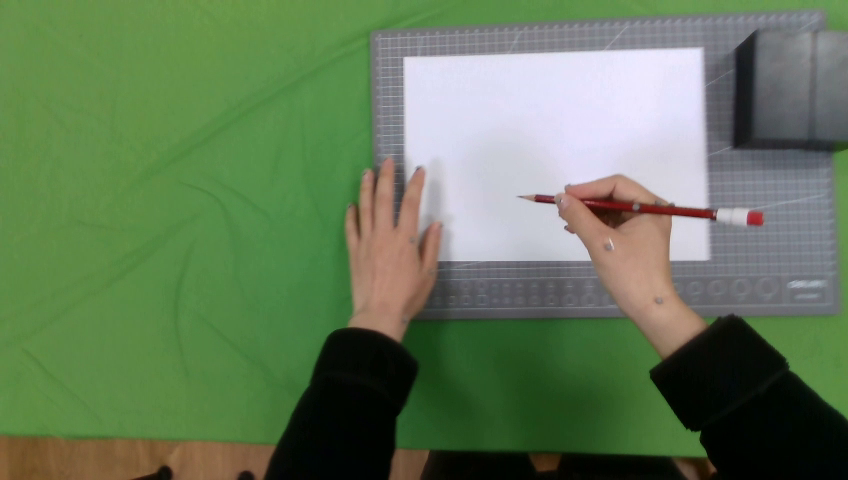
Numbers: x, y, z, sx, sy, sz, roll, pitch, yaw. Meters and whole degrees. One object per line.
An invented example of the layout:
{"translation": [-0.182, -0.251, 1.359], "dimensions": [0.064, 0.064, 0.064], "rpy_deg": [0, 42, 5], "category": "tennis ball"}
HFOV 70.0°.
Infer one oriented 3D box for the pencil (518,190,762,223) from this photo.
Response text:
{"translation": [0.153, -0.029, 0.465], "dimensions": [0.192, 0.012, 0.012], "rpy_deg": [10, 89, 41], "category": "pencil"}
